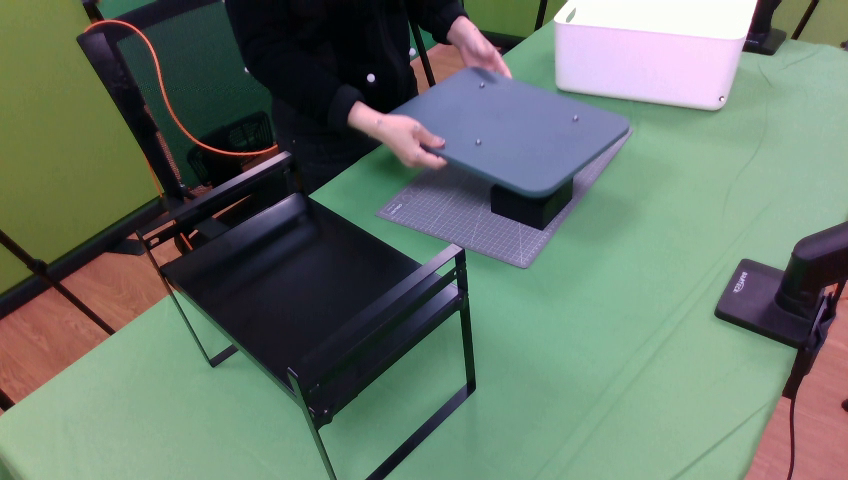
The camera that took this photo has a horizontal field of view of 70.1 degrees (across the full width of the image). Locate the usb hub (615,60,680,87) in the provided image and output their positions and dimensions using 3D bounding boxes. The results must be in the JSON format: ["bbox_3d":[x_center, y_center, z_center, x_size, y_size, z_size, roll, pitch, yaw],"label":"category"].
[{"bbox_3d":[0.484,-0.362,1.311,0.124,0.025,0.049,20,47,28],"label":"usb hub"}]

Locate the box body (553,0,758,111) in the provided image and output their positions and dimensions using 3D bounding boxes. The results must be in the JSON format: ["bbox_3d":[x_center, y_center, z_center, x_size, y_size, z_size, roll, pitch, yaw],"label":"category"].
[{"bbox_3d":[0.480,-0.417,1.281,0.362,0.161,0.254,15,46,24],"label":"box body"}]

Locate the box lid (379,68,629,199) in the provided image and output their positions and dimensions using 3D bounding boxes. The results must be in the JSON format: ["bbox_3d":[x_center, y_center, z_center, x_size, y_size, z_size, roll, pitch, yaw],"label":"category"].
[{"bbox_3d":[0.128,-0.198,1.032,0.368,0.015,0.264,30,52,34],"label":"box lid"}]
